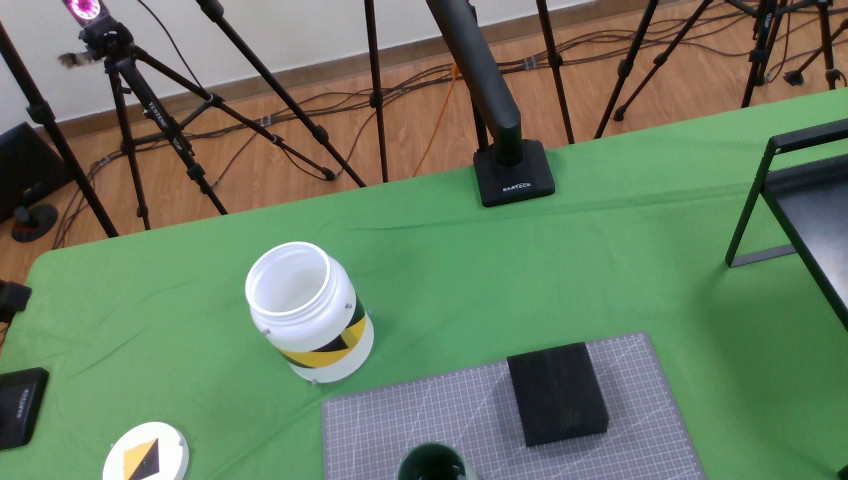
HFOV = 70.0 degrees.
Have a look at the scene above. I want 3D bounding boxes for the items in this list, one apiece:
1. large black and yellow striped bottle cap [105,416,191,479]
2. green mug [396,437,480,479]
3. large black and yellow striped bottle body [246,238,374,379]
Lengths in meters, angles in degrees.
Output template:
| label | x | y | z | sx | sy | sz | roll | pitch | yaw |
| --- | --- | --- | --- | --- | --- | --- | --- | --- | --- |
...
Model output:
| label | x | y | z | sx | sy | sz | roll | pitch | yaw |
| --- | --- | --- | --- | --- | --- | --- | --- | --- | --- |
| large black and yellow striped bottle cap | -0.375 | 0.297 | 0.821 | 0.115 | 0.019 | 0.114 | -6 | 53 | 8 |
| green mug | 0.001 | 0.285 | 0.691 | 0.125 | 0.106 | 0.091 | -19 | 54 | -2 |
| large black and yellow striped bottle body | -0.150 | 0.092 | 0.813 | 0.130 | 0.186 | 0.129 | -6 | 54 | 8 |
